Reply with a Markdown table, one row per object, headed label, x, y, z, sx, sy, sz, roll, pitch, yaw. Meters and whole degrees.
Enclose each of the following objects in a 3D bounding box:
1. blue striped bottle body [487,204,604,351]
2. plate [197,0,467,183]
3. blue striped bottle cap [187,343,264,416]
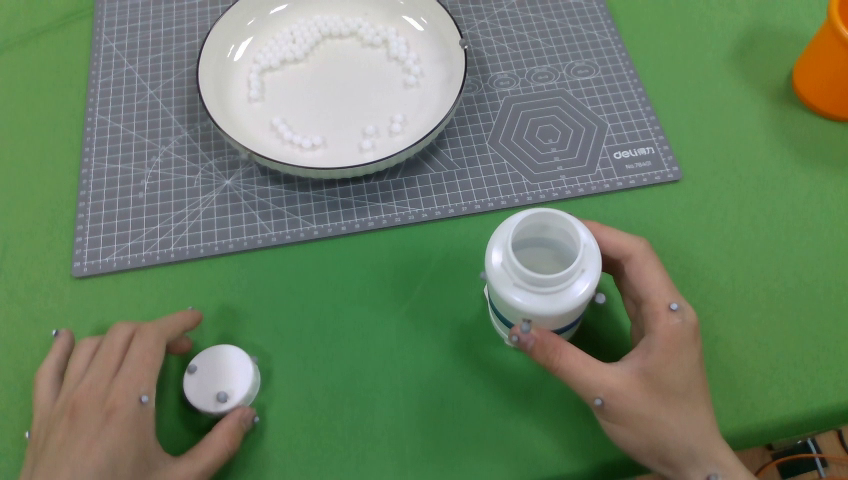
| label | x | y | z | sx | sy | sz | roll | pitch | yaw |
| --- | --- | --- | --- | --- | --- | --- | --- | --- | --- |
| blue striped bottle body | 0.069 | 0.022 | 0.357 | 0.063 | 0.122 | 0.062 | -2 | 67 | 6 |
| plate | -0.070 | -0.129 | 0.482 | 0.208 | 0.039 | 0.206 | 0 | 62 | 0 |
| blue striped bottle cap | -0.126 | 0.088 | 0.386 | 0.044 | 0.021 | 0.044 | 0 | 67 | 1 |
